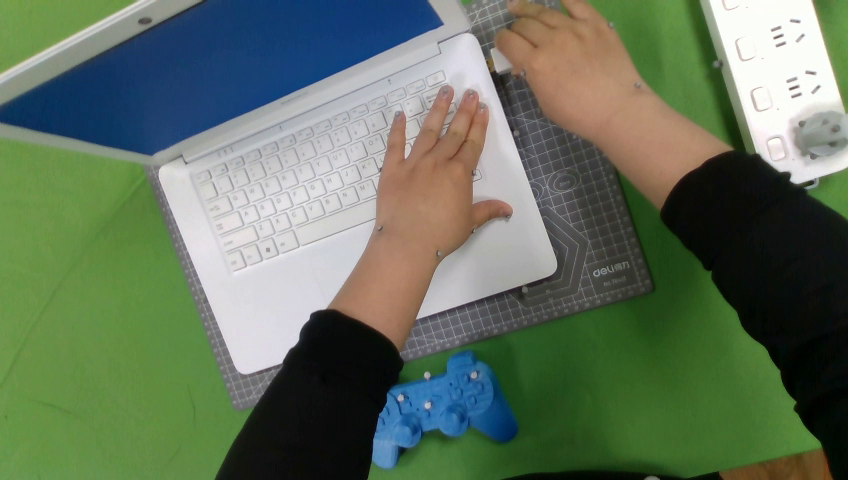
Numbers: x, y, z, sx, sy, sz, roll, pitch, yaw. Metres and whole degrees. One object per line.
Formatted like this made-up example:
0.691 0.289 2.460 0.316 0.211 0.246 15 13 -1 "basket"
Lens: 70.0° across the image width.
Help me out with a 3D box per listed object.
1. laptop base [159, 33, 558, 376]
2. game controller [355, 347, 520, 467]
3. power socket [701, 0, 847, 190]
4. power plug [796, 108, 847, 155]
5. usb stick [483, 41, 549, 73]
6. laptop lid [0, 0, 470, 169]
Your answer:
-0.073 -0.023 0.595 0.354 0.023 0.236 -20 95 14 "laptop base"
0.007 0.165 0.588 0.155 0.051 0.097 -19 89 14 "game controller"
0.281 -0.150 0.490 0.072 0.032 0.227 -18 93 16 "power socket"
0.328 -0.087 0.468 0.072 0.052 0.035 -7 94 9 "power plug"
0.079 -0.162 0.538 0.059 0.027 0.021 -5 96 2 "usb stick"
-0.148 -0.136 0.474 0.356 0.242 0.013 -20 84 16 "laptop lid"
